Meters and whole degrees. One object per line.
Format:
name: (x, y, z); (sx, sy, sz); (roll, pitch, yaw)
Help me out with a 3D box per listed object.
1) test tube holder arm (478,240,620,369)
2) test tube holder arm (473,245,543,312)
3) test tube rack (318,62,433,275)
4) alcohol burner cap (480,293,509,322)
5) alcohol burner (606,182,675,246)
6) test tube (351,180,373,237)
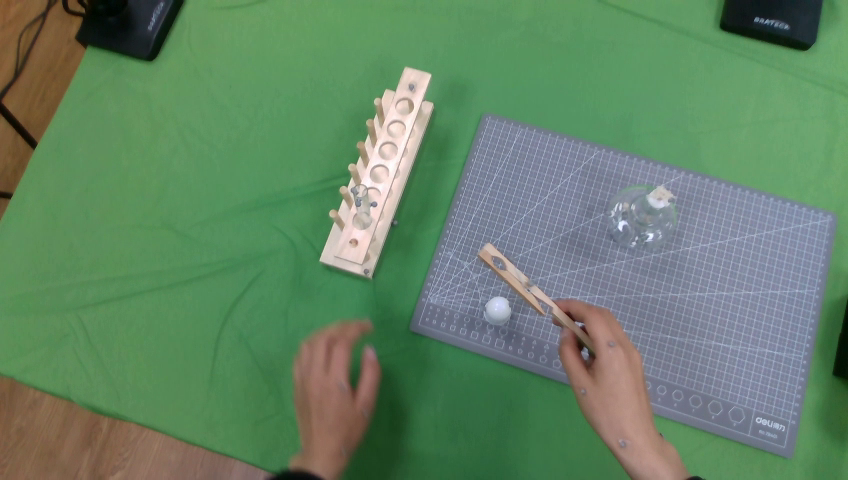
test tube holder arm: (0.121, 0.063, 0.584); (0.178, 0.015, 0.013); (41, 87, -2)
test tube holder arm: (0.083, 0.037, 0.582); (0.088, 0.015, 0.010); (42, 87, -2)
test tube rack: (-0.060, -0.088, 0.724); (0.066, 0.085, 0.241); (18, 77, 7)
alcohol burner cap: (0.083, 0.076, 0.699); (0.034, 0.048, 0.033); (0, 77, 2)
alcohol burner: (0.249, -0.035, 0.685); (0.078, 0.120, 0.077); (-1, 76, 4)
test tube: (-0.067, -0.030, 0.659); (0.017, 0.151, 0.017); (1, 73, -2)
